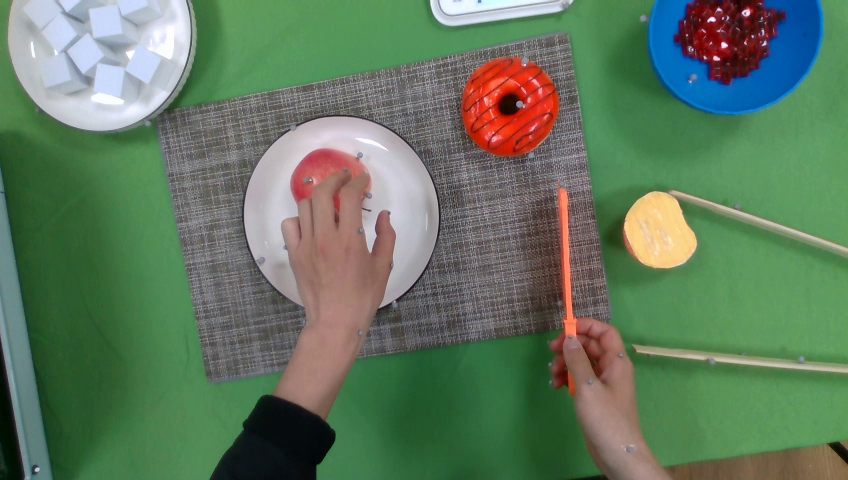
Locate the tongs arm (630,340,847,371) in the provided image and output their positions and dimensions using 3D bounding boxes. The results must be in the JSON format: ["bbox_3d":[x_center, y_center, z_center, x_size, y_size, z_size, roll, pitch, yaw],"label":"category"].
[{"bbox_3d":[0.406,0.106,0.605,0.384,0.026,0.051,6,91,4],"label":"tongs arm"}]

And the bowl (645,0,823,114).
[{"bbox_3d":[0.278,-0.190,0.572,0.151,0.077,0.151,0,95,6],"label":"bowl"}]

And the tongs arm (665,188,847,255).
[{"bbox_3d":[0.423,0.022,0.600,0.387,0.028,0.028,21,88,3],"label":"tongs arm"}]

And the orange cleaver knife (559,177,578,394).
[{"bbox_3d":[0.142,0.043,0.601,0.012,0.077,0.211,-3,95,12],"label":"orange cleaver knife"}]

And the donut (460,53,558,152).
[{"bbox_3d":[0.084,-0.137,0.608,0.099,0.048,0.099,1,96,8],"label":"donut"}]

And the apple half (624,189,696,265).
[{"bbox_3d":[0.228,-0.009,0.609,0.081,0.033,0.081,4,75,-16],"label":"apple half"}]

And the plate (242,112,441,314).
[{"bbox_3d":[-0.084,-0.028,0.636,0.209,0.038,0.209,0,94,5],"label":"plate"}]

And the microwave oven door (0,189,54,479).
[{"bbox_3d":[-0.471,0.127,0.568,0.039,0.244,0.356,-7,93,6],"label":"microwave oven door"}]

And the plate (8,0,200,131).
[{"bbox_3d":[-0.336,-0.220,0.649,0.207,0.039,0.208,0,94,6],"label":"plate"}]

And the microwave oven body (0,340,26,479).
[{"bbox_3d":[-0.620,0.101,0.585,0.326,0.260,0.442,-7,94,6],"label":"microwave oven body"}]

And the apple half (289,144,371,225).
[{"bbox_3d":[-0.100,-0.059,0.619,0.074,0.053,0.081,44,96,4],"label":"apple half"}]

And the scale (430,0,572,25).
[{"bbox_3d":[0.072,-0.326,0.605,0.148,0.031,0.201,-5,94,6],"label":"scale"}]
